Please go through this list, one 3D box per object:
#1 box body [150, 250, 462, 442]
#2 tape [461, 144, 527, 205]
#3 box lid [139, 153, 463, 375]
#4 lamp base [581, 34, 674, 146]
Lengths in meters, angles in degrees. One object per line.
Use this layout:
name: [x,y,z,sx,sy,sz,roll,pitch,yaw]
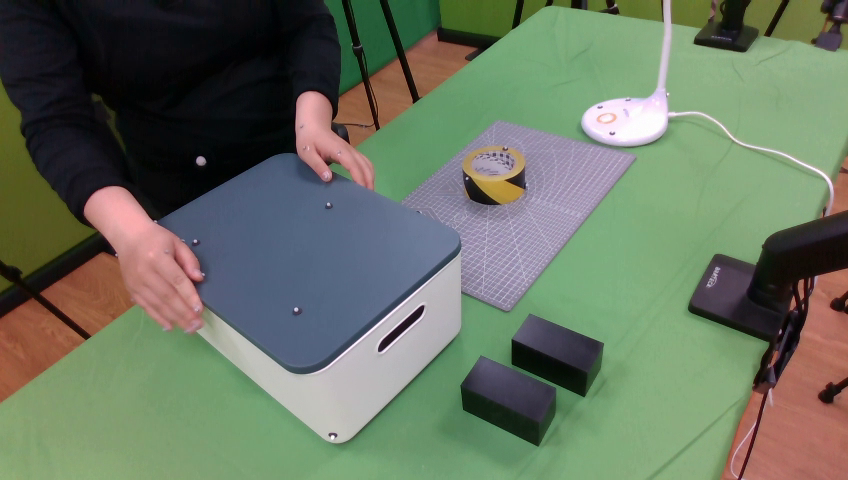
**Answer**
box body: [-0.152,0.063,0.809,0.361,0.161,0.255,27,51,33]
tape: [0.124,-0.116,1.058,0.117,0.053,0.116,-4,42,4]
box lid: [-0.161,0.003,0.757,0.368,0.015,0.264,27,51,34]
lamp base: [0.392,-0.291,1.129,0.180,0.181,0.159,-11,41,-8]
